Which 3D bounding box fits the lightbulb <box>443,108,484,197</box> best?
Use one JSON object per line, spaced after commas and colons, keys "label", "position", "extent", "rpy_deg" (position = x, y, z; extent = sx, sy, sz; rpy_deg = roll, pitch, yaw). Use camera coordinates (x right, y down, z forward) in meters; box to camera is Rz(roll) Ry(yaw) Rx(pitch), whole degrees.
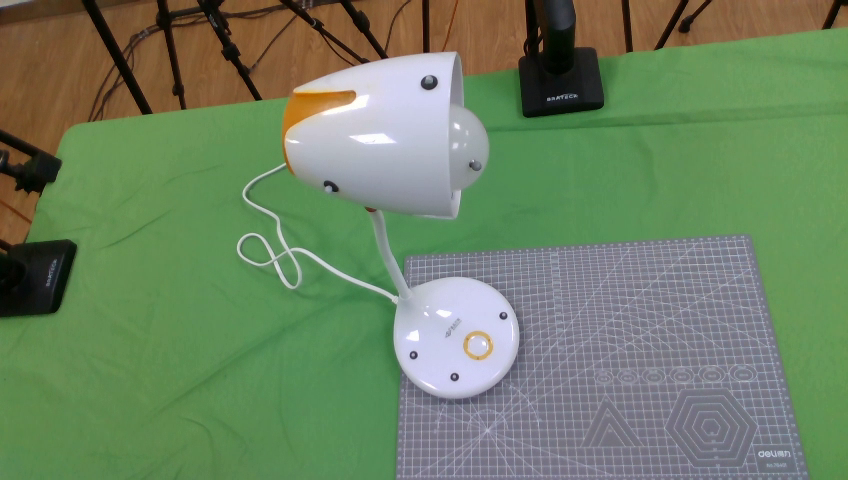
{"label": "lightbulb", "position": [-0.013, -0.057, 0.411], "extent": [0.107, 0.060, 0.059], "rpy_deg": [-2, 63, 11]}

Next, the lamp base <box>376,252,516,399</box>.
{"label": "lamp base", "position": [0.011, 0.082, 0.703], "extent": [0.178, 0.182, 0.160], "rpy_deg": [20, 68, 23]}

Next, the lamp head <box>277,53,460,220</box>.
{"label": "lamp head", "position": [-0.035, -0.068, 0.419], "extent": [0.122, 0.113, 0.111], "rpy_deg": [0, 63, 13]}
